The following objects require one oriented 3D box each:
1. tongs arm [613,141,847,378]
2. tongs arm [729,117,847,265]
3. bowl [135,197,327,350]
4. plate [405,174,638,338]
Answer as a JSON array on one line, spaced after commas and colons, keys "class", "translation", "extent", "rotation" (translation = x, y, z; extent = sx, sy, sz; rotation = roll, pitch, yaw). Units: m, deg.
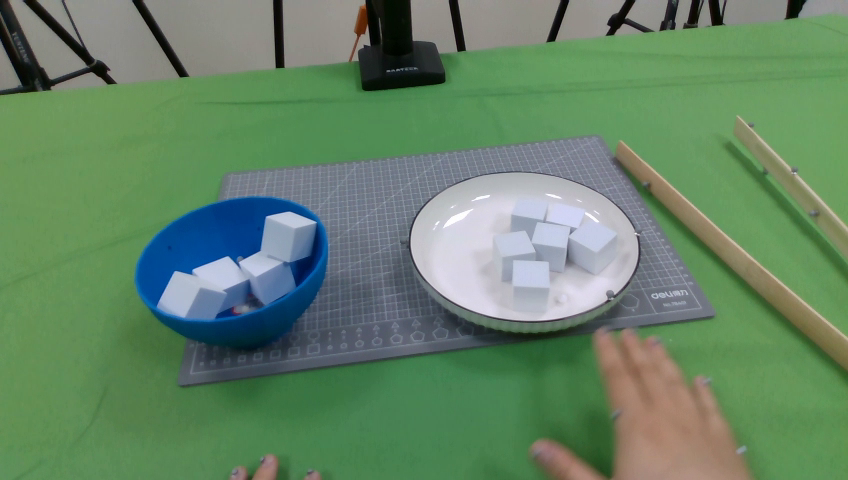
[{"class": "tongs arm", "translation": [0.289, 0.012, 0.560], "extent": [0.028, 0.028, 0.383], "rotation": [-14, 42, -15]}, {"class": "tongs arm", "translation": [0.366, -0.005, 0.568], "extent": [0.051, 0.027, 0.380], "rotation": [-8, 42, -4]}, {"class": "bowl", "translation": [-0.152, 0.039, 0.510], "extent": [0.151, 0.077, 0.150], "rotation": [-1, 41, 2]}, {"class": "plate", "translation": [0.087, 0.013, 0.558], "extent": [0.207, 0.039, 0.205], "rotation": [-1, 41, 2]}]
